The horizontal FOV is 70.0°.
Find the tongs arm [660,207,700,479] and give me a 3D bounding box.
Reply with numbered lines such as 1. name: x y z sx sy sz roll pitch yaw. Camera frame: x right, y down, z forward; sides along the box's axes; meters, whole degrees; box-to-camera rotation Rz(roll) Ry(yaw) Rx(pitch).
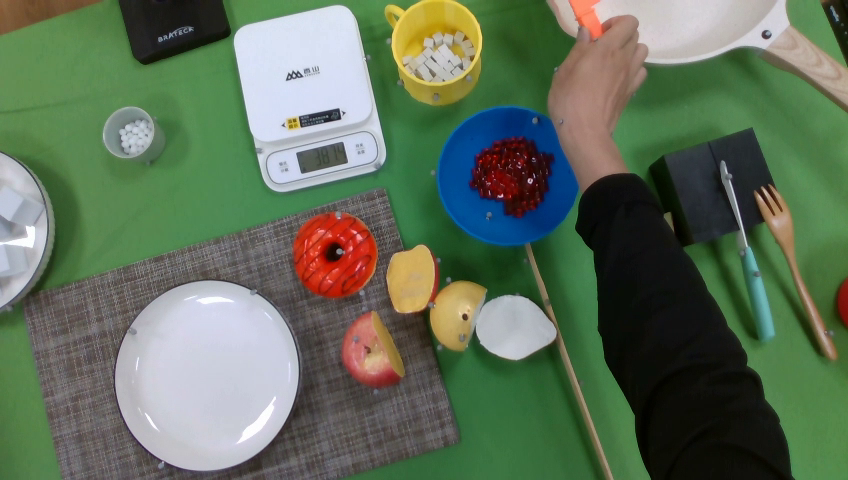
1. tongs arm: 0.275 0.157 0.658 0.028 0.028 0.386 -2 85 -3

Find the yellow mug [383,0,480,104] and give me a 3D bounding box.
1. yellow mug: 0.003 -0.224 0.695 0.130 0.064 0.100 40 88 7

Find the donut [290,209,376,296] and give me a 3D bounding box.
1. donut: -0.103 0.014 0.682 0.099 0.048 0.099 0 85 5

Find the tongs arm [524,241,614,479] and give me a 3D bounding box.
1. tongs arm: 0.191 0.175 0.659 0.051 0.026 0.383 -17 84 -2

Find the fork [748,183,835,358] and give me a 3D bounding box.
1. fork: 0.398 0.035 0.650 0.028 0.018 0.208 -27 98 -3

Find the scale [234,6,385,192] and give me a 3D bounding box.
1. scale: -0.135 -0.167 0.713 0.148 0.031 0.200 -13 84 2

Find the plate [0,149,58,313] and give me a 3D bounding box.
1. plate: -0.528 -0.007 0.713 0.207 0.039 0.207 0 84 3

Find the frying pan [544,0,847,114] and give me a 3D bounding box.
1. frying pan: 0.331 -0.257 0.663 0.307 0.103 0.485 -44 76 -1

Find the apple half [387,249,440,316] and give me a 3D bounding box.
1. apple half: -0.004 0.046 0.680 0.033 0.081 0.081 -12 80 -43

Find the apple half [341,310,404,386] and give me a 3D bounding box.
1. apple half: -0.061 0.121 0.655 0.053 0.075 0.080 -27 87 4

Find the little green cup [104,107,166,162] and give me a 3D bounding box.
1. little green cup: -0.338 -0.121 0.715 0.061 0.039 0.061 0 83 3

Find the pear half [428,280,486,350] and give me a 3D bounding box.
1. pear half: 0.031 0.076 0.640 0.056 0.110 0.076 15 80 6

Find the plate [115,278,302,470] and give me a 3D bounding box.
1. plate: -0.236 0.146 0.678 0.209 0.038 0.208 0 84 3

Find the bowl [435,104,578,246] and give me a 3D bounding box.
1. bowl: 0.088 -0.065 0.669 0.151 0.077 0.151 0 85 3

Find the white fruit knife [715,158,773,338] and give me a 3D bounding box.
1. white fruit knife: 0.340 0.012 0.647 0.016 0.027 0.208 -19 98 1

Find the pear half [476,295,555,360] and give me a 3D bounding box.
1. pear half: 0.103 0.098 0.673 0.087 0.031 0.070 8 83 18

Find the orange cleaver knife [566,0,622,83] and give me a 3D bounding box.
1. orange cleaver knife: 0.160 -0.263 0.616 0.077 0.012 0.211 -28 91 -11
